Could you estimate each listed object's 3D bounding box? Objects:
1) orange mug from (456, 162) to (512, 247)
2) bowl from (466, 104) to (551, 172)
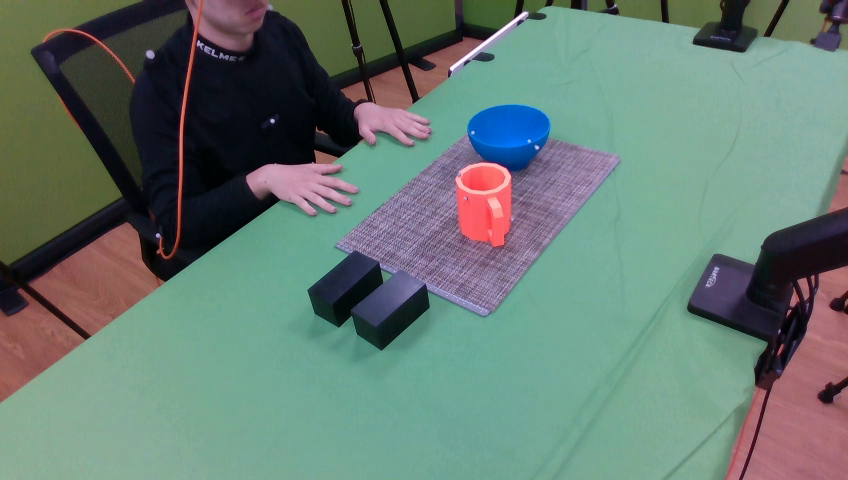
[{"bbox_3d":[0.100,-0.050,0.949,0.083,0.101,0.125,-13,37,-6],"label":"orange mug"},{"bbox_3d":[0.155,-0.177,1.105,0.151,0.077,0.150,-4,40,4],"label":"bowl"}]
